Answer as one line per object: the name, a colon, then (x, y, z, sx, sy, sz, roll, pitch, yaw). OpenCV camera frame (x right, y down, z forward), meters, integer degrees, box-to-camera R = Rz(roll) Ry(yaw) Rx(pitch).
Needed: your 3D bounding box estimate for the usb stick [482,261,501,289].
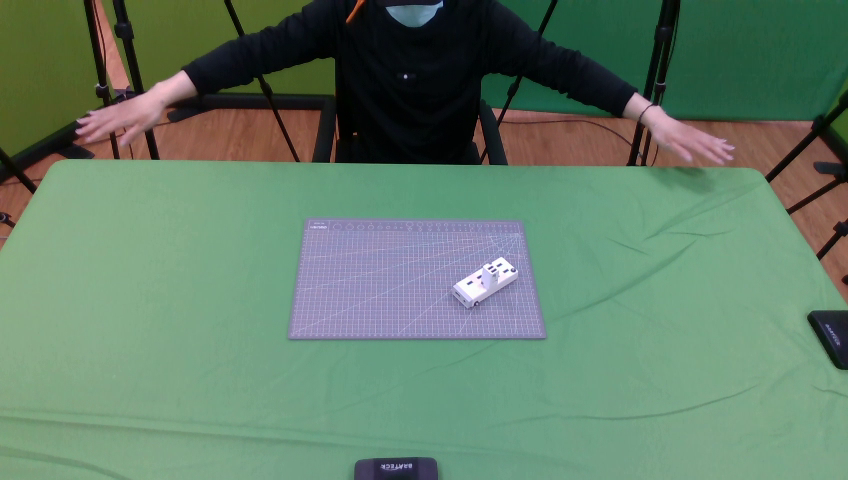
usb stick: (0.120, 0.068, 1.090, 0.021, 0.059, 0.027, -30, 56, -28)

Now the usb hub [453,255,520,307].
usb hub: (0.117, 0.076, 1.122, 0.125, 0.025, 0.049, -28, 55, -26)
